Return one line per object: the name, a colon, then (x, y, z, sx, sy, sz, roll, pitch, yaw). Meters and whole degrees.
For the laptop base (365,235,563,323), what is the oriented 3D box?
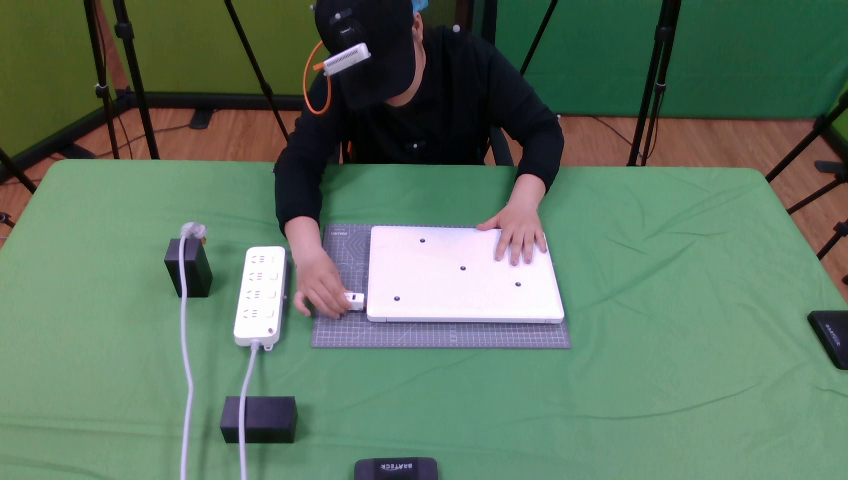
laptop base: (0.070, 0.064, 1.145, 0.354, 0.023, 0.234, 1, 43, -3)

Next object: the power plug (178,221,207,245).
power plug: (-0.412, -0.002, 1.070, 0.035, 0.053, 0.072, -1, 42, 24)

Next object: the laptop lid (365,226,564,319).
laptop lid: (0.071, 0.055, 1.138, 0.357, 0.013, 0.240, 2, 43, -3)

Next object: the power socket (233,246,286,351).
power socket: (-0.290, 0.094, 1.078, 0.072, 0.033, 0.225, -2, 46, -5)

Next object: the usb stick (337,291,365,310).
usb stick: (-0.123, 0.108, 1.068, 0.059, 0.027, 0.021, 8, 47, -7)
